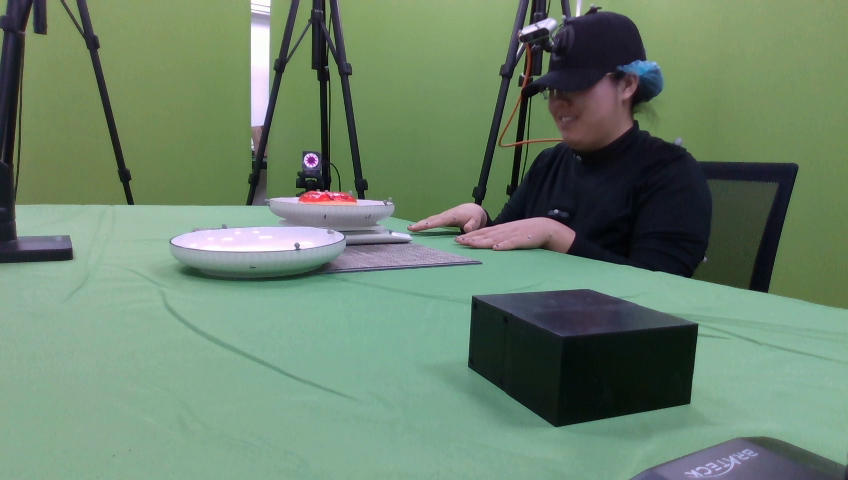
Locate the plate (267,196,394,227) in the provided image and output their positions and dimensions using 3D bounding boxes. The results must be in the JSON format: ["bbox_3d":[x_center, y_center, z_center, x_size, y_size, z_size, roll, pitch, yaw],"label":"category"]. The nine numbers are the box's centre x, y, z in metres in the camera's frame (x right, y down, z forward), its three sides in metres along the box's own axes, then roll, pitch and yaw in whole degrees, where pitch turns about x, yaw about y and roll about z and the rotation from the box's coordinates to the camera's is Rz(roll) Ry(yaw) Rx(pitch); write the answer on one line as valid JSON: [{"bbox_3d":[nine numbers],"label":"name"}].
[{"bbox_3d":[-0.152,-0.047,0.998,0.208,0.039,0.207,2,7,0],"label":"plate"}]

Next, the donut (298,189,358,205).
[{"bbox_3d":[-0.158,-0.059,0.996,0.099,0.048,0.099,2,4,0],"label":"donut"}]

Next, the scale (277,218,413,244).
[{"bbox_3d":[-0.134,-0.016,1.015,0.202,0.031,0.148,-2,9,-33],"label":"scale"}]

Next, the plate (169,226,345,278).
[{"bbox_3d":[-0.202,0.014,0.748,0.209,0.038,0.209,1,9,0],"label":"plate"}]
